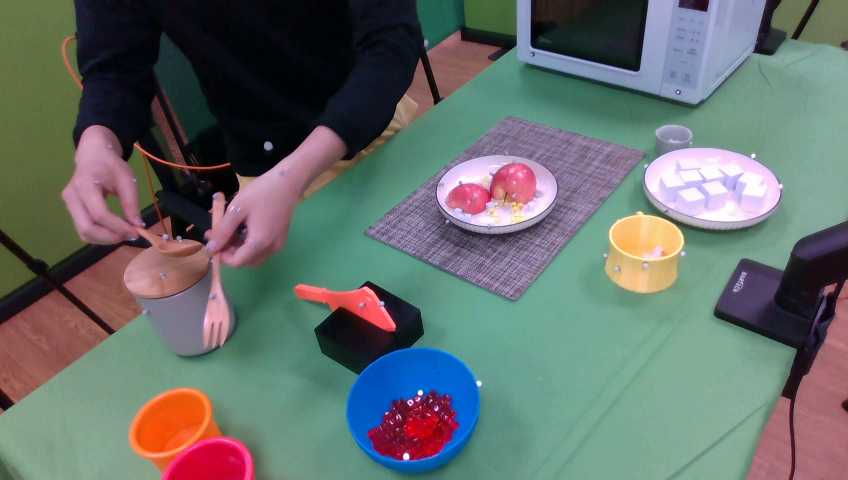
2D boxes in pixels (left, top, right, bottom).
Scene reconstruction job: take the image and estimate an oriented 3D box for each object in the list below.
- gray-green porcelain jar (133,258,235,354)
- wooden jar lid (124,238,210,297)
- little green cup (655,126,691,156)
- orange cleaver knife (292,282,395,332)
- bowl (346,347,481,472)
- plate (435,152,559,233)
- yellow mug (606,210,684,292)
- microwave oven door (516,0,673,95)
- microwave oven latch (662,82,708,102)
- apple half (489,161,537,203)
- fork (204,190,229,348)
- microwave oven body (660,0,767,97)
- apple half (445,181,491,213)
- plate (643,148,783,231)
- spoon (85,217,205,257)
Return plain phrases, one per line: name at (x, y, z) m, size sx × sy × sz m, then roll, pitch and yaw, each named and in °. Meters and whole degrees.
gray-green porcelain jar at (-0.328, 0.087, 0.836) m, size 0.106 × 0.127 × 0.105 m, roll -4°, pitch 41°, yaw 4°
wooden jar lid at (-0.335, 0.038, 0.795) m, size 0.108 × 0.021 × 0.108 m, roll -2°, pitch 40°, yaw 2°
little green cup at (0.450, -0.177, 1.100) m, size 0.061 × 0.039 × 0.061 m, roll -6°, pitch 40°, yaw 5°
orange cleaver knife at (-0.115, 0.091, 0.835) m, size 0.209 × 0.077 × 0.012 m, roll 2°, pitch 32°, yaw 48°
bowl at (-0.008, 0.205, 0.691) m, size 0.151 × 0.077 × 0.150 m, roll -4°, pitch 40°, yaw 4°
plate at (0.123, -0.078, 1.026) m, size 0.209 × 0.038 × 0.208 m, roll -4°, pitch 40°, yaw 4°
yellow mug at (0.318, 0.007, 0.883) m, size 0.100 × 0.064 × 0.130 m, roll 0°, pitch 41°, yaw 8°
microwave oven door at (0.344, -0.458, 1.256) m, size 0.353 × 0.245 × 0.039 m, roll 26°, pitch 51°, yaw 33°
microwave oven latch at (0.518, -0.298, 1.203) m, size 0.078 × 0.029 × 0.030 m, roll 28°, pitch 53°, yaw 35°
apple half at (0.154, -0.106, 1.030) m, size 0.080 × 0.053 × 0.075 m, roll 22°, pitch 46°, yaw 31°
fork at (-0.248, 0.029, 0.726) m, size 0.028 × 0.019 × 0.206 m, roll -7°, pitch 67°, yaw 2°
microwave oven body at (0.474, -0.517, 1.314) m, size 0.438 × 0.261 × 0.327 m, roll 26°, pitch 51°, yaw 34°
apple half at (0.077, -0.083, 1.029) m, size 0.081 × 0.033 × 0.081 m, roll -2°, pitch 41°, yaw 2°
plate at (0.464, -0.080, 0.986) m, size 0.207 × 0.039 × 0.206 m, roll -4°, pitch 41°, yaw 4°
spoon at (-0.328, -0.008, 0.700) m, size 0.192 × 0.021 × 0.042 m, roll 16°, pitch 21°, yaw 26°
